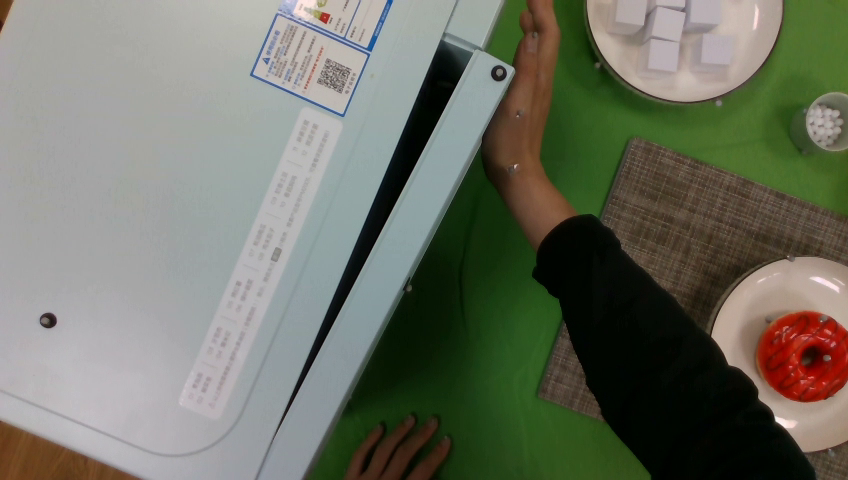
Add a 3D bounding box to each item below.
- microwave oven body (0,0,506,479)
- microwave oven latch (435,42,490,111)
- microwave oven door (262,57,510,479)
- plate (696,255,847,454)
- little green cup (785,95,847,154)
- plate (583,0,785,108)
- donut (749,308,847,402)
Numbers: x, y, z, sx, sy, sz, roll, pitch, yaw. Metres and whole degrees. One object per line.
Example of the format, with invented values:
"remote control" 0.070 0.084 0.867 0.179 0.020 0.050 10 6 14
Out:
"microwave oven body" -0.166 -0.067 0.521 0.326 0.260 0.441 23 91 -2
"microwave oven latch" 0.039 -0.173 0.618 0.030 0.029 0.079 27 91 -2
"microwave oven door" -0.038 0.035 0.521 0.039 0.243 0.355 27 90 -1
"plate" 0.390 0.119 0.647 0.209 0.038 0.209 0 91 -1
"little green cup" 0.421 -0.121 0.645 0.061 0.038 0.061 0 90 -1
"plate" 0.269 -0.241 0.640 0.208 0.039 0.207 0 91 -1
"donut" 0.392 0.120 0.636 0.099 0.048 0.099 0 92 1
